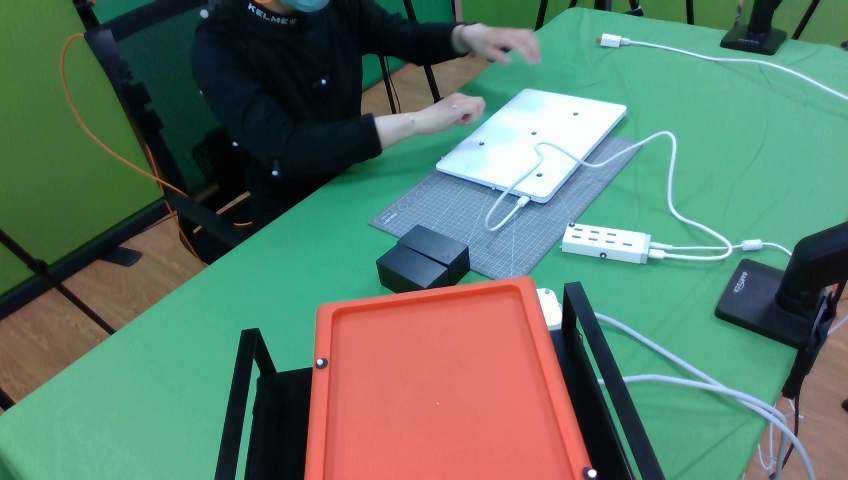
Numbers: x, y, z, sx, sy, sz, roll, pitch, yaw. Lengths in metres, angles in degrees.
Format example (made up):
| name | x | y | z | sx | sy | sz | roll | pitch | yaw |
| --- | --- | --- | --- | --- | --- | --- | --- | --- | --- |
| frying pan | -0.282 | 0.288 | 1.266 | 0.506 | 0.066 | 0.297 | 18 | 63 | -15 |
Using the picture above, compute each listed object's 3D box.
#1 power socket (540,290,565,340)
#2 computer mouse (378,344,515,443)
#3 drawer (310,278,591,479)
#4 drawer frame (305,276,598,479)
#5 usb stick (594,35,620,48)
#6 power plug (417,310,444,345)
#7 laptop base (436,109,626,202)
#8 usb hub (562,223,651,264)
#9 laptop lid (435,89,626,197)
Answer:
| name | x | y | z | sx | sy | sz | roll | pitch | yaw |
| --- | --- | --- | --- | --- | --- | --- | --- | --- | --- |
| power socket | 0.081 | 0.112 | 0.822 | 0.227 | 0.033 | 0.072 | -7 | 41 | 0 |
| computer mouse | 0.018 | 0.126 | 0.521 | 0.116 | 0.041 | 0.063 | 13 | 47 | 30 |
| drawer | 0.013 | 0.137 | 0.489 | 0.195 | 0.073 | 0.210 | -7 | 41 | 0 |
| drawer frame | 0.014 | 0.137 | 0.486 | 0.202 | 0.083 | 0.212 | -8 | 41 | -1 |
| usb stick | 0.443 | -0.482 | 1.466 | 0.059 | 0.021 | 0.027 | 10 | 43 | 10 |
| power plug | 0.007 | 0.122 | 0.785 | 0.035 | 0.053 | 0.072 | 1 | 39 | 7 |
| laptop base | 0.214 | -0.193 | 1.171 | 0.233 | 0.023 | 0.355 | 19 | 46 | 32 |
| usb hub | 0.279 | 0.004 | 0.926 | 0.124 | 0.025 | 0.049 | 10 | 43 | 19 |
| laptop lid | 0.211 | -0.202 | 1.165 | 0.240 | 0.013 | 0.358 | 21 | 47 | 32 |
